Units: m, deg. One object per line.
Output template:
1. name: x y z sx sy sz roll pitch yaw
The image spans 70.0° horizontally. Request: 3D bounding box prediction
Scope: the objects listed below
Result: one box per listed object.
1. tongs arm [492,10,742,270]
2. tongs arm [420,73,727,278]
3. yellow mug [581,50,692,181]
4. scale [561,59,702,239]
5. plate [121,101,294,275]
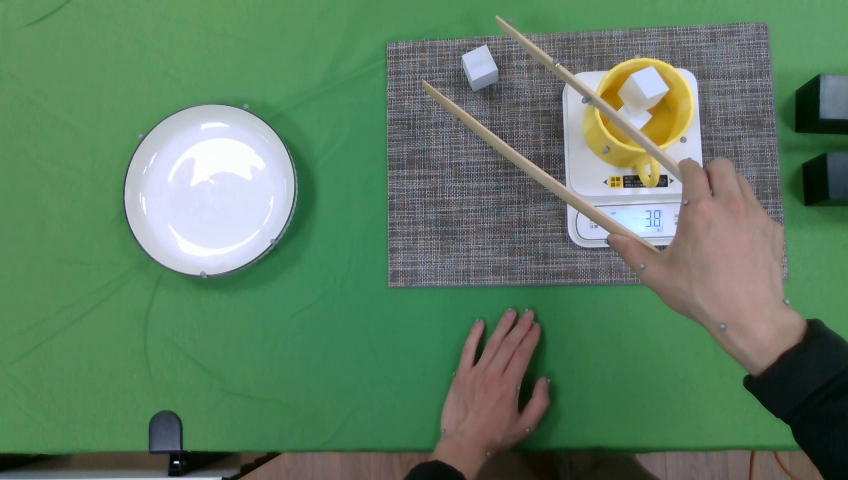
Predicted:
1. tongs arm: 0.158 -0.117 0.575 0.051 0.027 0.380 -39 54 2
2. tongs arm: 0.112 -0.078 0.578 0.028 0.028 0.383 -42 53 -5
3. yellow mug: 0.226 -0.127 0.643 0.100 0.064 0.130 -12 85 3
4. scale: 0.235 -0.103 0.688 0.148 0.031 0.200 -2 85 5
5. plate: -0.255 -0.060 0.727 0.207 0.039 0.207 0 84 4
